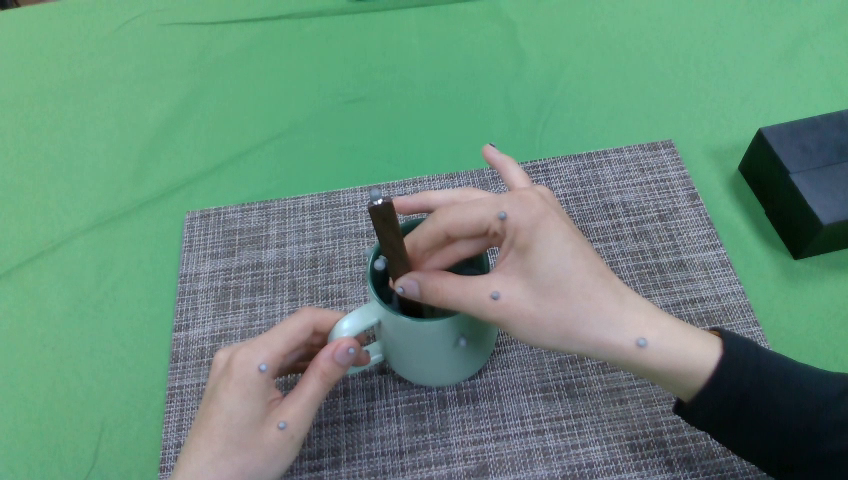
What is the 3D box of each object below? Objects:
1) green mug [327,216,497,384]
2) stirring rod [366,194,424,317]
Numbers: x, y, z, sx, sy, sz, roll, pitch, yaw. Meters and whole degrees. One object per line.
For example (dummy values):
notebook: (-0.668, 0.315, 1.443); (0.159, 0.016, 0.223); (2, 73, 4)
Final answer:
green mug: (-0.009, 0.052, 0.422); (0.125, 0.106, 0.091); (-29, 59, -13)
stirring rod: (-0.012, 0.029, 0.375); (0.014, 0.178, 0.005); (-18, 55, -4)
